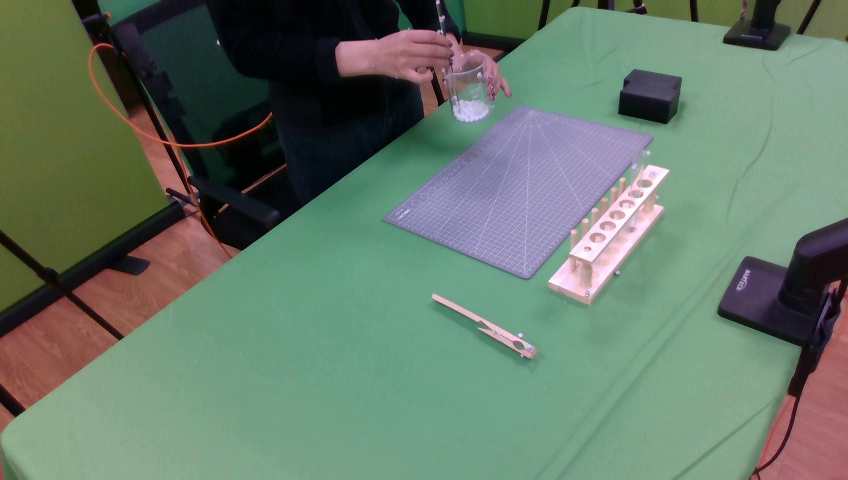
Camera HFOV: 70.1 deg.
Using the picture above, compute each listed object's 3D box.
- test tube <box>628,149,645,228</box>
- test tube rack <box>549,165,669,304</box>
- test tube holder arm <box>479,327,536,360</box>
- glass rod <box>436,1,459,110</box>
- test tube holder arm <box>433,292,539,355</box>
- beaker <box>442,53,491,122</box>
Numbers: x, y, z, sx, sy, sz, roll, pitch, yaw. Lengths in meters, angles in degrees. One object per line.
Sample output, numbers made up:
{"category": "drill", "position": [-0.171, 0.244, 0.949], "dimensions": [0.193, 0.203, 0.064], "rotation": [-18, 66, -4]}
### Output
{"category": "test tube", "position": [0.309, -0.071, 0.882], "dimensions": [0.017, 0.151, 0.017], "rotation": [-7, 47, 8]}
{"category": "test tube rack", "position": [0.279, -0.018, 0.902], "dimensions": [0.066, 0.085, 0.243], "rotation": [24, 50, 33]}
{"category": "test tube holder arm", "position": [0.110, 0.134, 0.805], "dimensions": [0.087, 0.015, 0.010], "rotation": [29, 83, 36]}
{"category": "glass rod", "position": [0.042, -0.308, 1.028], "dimensions": [0.008, 0.201, 0.008], "rotation": [-8, 42, 8]}
{"category": "test tube holder arm", "position": [0.081, 0.113, 0.832], "dimensions": [0.177, 0.015, 0.013], "rotation": [28, 82, 36]}
{"category": "beaker", "position": [0.075, -0.263, 1.059], "dimensions": [0.084, 0.101, 0.073], "rotation": [-31, 42, -19]}
